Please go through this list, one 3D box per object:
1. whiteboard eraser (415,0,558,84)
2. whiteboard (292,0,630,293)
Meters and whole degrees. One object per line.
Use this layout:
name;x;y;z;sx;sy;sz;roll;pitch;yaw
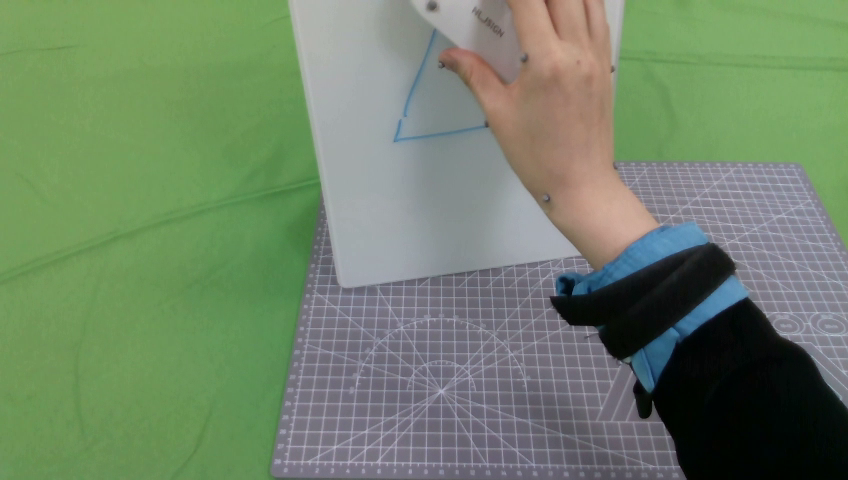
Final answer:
whiteboard eraser;0.038;-0.133;0.362;0.102;0.041;0.018;32;17;-22
whiteboard;0.021;-0.137;0.467;0.217;0.308;0.142;-7;31;-5
